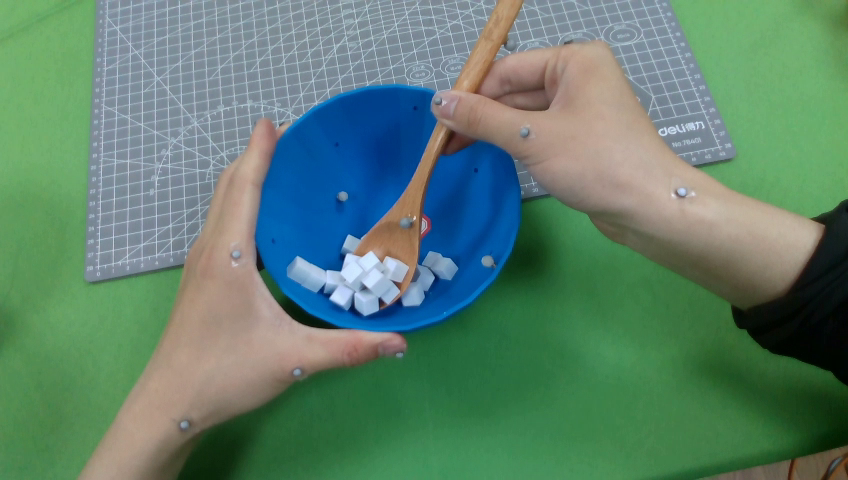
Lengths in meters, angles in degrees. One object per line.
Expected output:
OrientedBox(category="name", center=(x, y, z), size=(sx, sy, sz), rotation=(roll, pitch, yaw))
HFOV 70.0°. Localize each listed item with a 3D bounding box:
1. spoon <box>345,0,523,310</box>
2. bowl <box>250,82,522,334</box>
OrientedBox(category="spoon", center=(0.007, -0.047, 0.328), size=(0.041, 0.022, 0.194), rotation=(34, 107, 26))
OrientedBox(category="bowl", center=(-0.019, -0.010, 0.369), size=(0.151, 0.077, 0.150), rotation=(-1, 71, 3))
